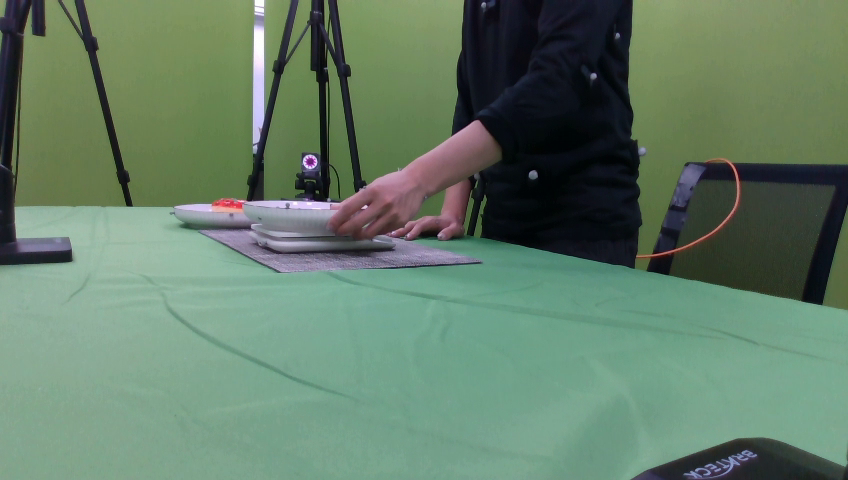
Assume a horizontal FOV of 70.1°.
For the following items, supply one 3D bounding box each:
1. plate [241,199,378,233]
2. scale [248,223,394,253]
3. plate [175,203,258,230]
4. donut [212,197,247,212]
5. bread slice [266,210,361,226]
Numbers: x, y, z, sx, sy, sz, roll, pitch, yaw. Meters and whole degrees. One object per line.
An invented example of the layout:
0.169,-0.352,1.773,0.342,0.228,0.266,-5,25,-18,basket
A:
-0.176,-0.038,0.939,0.209,0.038,0.209,3,7,0,plate
-0.162,-0.006,0.954,0.202,0.031,0.148,-2,8,-32,scale
-0.380,-0.047,1.199,0.208,0.039,0.207,2,7,0,plate
-0.376,-0.061,1.220,0.099,0.048,0.099,5,4,0,donut
-0.174,-0.035,0.934,0.132,0.019,0.104,-1,6,-28,bread slice
